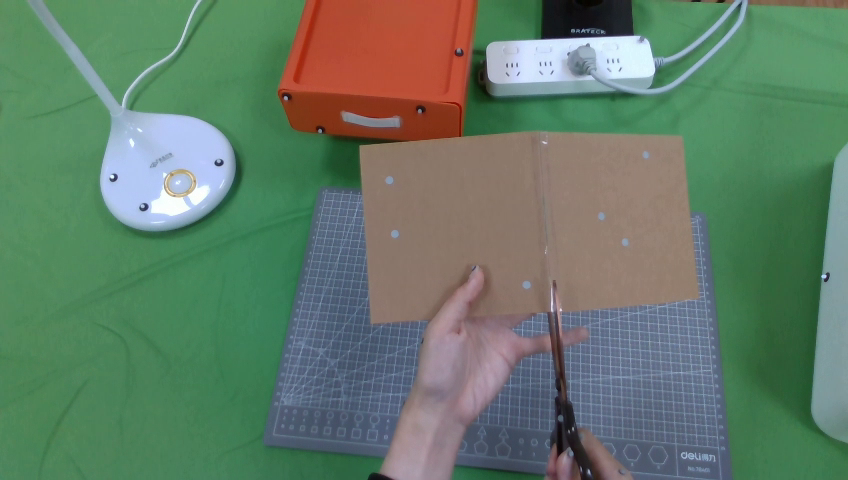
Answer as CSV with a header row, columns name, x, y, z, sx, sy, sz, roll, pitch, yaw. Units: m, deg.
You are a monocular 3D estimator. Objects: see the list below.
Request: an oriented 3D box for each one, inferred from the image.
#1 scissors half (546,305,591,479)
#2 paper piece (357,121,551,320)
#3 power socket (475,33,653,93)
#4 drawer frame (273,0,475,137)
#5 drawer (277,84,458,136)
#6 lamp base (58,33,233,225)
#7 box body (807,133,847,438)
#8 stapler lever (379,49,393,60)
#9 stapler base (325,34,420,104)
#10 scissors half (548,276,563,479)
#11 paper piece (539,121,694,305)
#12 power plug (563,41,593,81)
name,x,y,z,sx,sy,sz,roll,pitch,yaw
scissors half,0.097,0.109,0.419,0.013,0.040,0.173,-4,66,-3
paper piece,0.021,-0.012,0.446,0.136,0.008,0.138,-3,91,7
power socket,0.179,-0.227,0.776,0.227,0.033,0.071,-1,65,2
drawer frame,-0.049,-0.229,0.711,0.201,0.083,0.212,5,63,5
drawer,-0.048,-0.227,0.709,0.194,0.074,0.210,5,64,6
lamp base,-0.325,-0.130,0.667,0.178,0.182,0.160,35,70,21
box body,0.528,0.034,0.562,0.253,0.161,0.362,17,66,10
stapler lever,-0.074,-0.215,0.697,0.117,0.040,0.027,34,86,21
stapler base,-0.065,-0.208,0.721,0.129,0.024,0.041,34,86,20
scissors half,0.097,0.111,0.443,0.013,0.040,0.176,-4,104,1
paper piece,0.149,-0.021,0.464,0.136,0.004,0.135,-1,86,-20
power plug,0.188,-0.211,0.743,0.035,0.053,0.072,9,65,6
